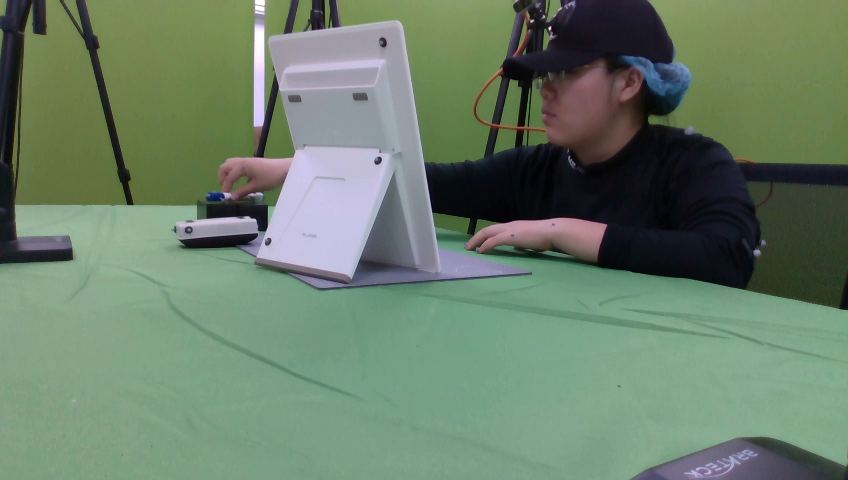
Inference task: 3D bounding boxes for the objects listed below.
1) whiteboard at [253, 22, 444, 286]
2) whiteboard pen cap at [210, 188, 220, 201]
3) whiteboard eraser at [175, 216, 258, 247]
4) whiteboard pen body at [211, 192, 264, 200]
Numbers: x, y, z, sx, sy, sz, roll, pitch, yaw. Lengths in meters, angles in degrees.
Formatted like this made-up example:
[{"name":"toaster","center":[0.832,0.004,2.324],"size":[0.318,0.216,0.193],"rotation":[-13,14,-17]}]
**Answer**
[{"name":"whiteboard","center":[-0.125,-0.081,0.715],"size":[0.216,0.305,0.144],"rotation":[9,29,36]},{"name":"whiteboard pen cap","center":[-0.376,-0.081,1.087],"size":[0.018,0.018,0.033],"rotation":[0,23,-17]},{"name":"whiteboard eraser","center":[-0.314,-0.012,0.915],"size":[0.113,0.042,0.055],"rotation":[-5,12,-30]},{"name":"whiteboard pen body","center":[-0.353,-0.084,1.146],"size":[0.017,0.017,0.141],"rotation":[6,6,24]}]
